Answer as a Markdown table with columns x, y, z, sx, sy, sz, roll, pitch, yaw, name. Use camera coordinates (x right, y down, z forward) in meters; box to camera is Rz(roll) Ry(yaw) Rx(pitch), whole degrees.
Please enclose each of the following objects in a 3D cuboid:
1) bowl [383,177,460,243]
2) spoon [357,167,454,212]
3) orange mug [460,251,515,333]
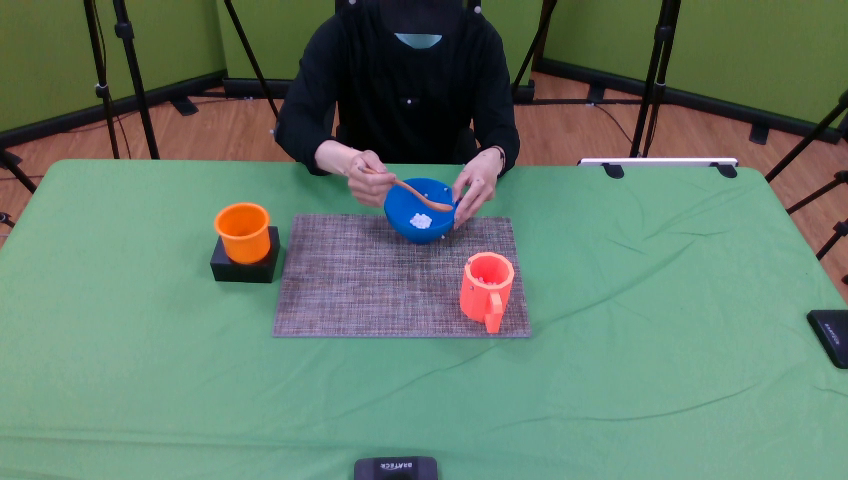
| x | y | z | sx | sy | sz | roll | pitch | yaw | name |
| --- | --- | --- | --- | --- | --- | --- | --- | --- | --- |
| -0.006 | -0.047 | 1.197 | 0.151 | 0.077 | 0.150 | 2 | 46 | -2 | bowl |
| -0.030 | -0.089 | 1.056 | 0.194 | 0.021 | 0.041 | 26 | 13 | -26 | spoon |
| 0.114 | 0.095 | 1.053 | 0.083 | 0.101 | 0.125 | -5 | 42 | -8 | orange mug |
